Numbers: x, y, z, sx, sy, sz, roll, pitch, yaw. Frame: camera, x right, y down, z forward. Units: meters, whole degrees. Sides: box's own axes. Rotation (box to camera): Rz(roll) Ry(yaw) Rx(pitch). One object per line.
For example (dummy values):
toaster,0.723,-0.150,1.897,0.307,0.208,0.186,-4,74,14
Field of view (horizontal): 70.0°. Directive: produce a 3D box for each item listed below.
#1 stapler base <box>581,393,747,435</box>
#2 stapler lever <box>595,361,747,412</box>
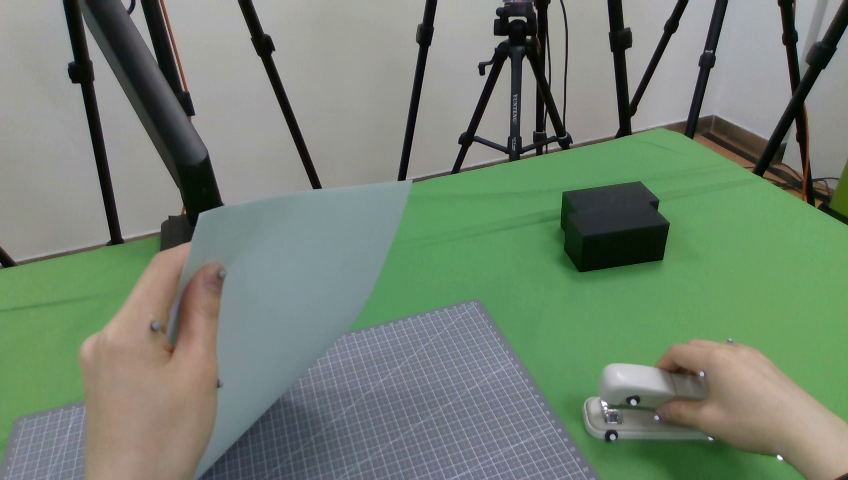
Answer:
stapler base,0.198,0.139,0.501,0.130,0.024,0.041,0,37,3
stapler lever,0.198,0.118,0.488,0.118,0.040,0.026,-1,37,3
